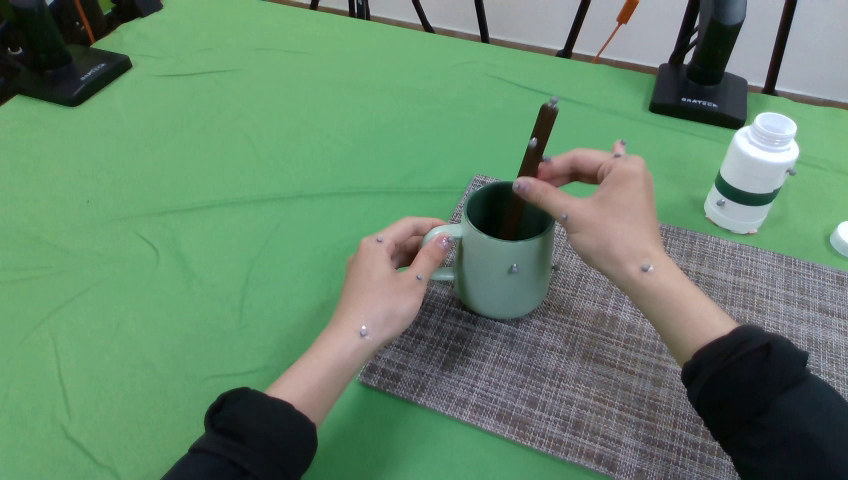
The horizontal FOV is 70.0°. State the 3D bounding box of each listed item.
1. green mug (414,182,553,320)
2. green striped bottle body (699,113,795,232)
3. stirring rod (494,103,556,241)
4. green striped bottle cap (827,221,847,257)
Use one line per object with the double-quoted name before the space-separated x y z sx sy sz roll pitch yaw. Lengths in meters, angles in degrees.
"green mug" 0.054 0.013 0.549 0.125 0.106 0.091 -6 46 -6
"green striped bottle body" 0.336 -0.071 0.627 0.063 0.120 0.062 0 46 0
"stirring rod" 0.077 -0.036 0.500 0.014 0.177 0.006 22 45 10
"green striped bottle cap" 0.447 0.001 0.630 0.044 0.020 0.044 1 42 -1
